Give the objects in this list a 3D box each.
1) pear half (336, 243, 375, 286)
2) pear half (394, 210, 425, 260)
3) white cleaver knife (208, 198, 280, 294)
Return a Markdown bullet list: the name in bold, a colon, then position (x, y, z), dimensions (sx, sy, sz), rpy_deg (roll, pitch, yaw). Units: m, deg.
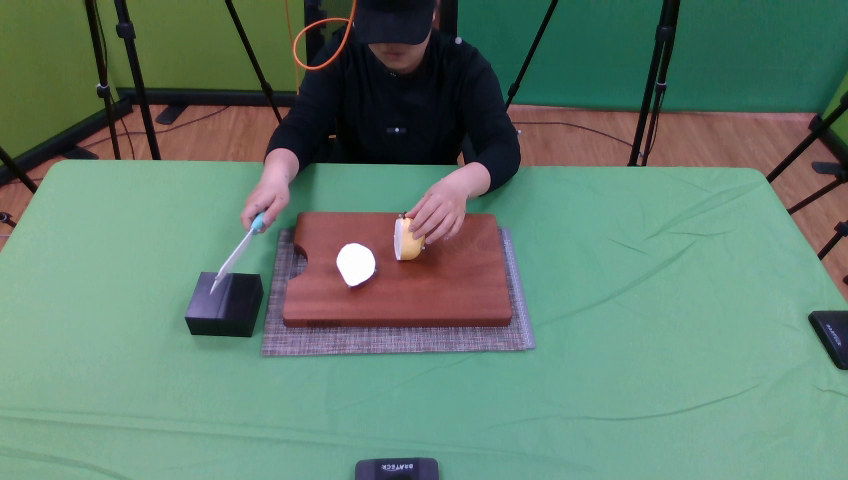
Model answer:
- **pear half**: position (-0.127, 0.050, 1.094), dimensions (0.070, 0.031, 0.087), rpy_deg (17, 59, -8)
- **pear half**: position (-0.025, -0.014, 1.110), dimensions (0.056, 0.110, 0.076), rpy_deg (-9, 51, -14)
- **white cleaver knife**: position (-0.321, 0.002, 1.085), dimensions (0.021, 0.066, 0.285), rpy_deg (33, 29, -9)
